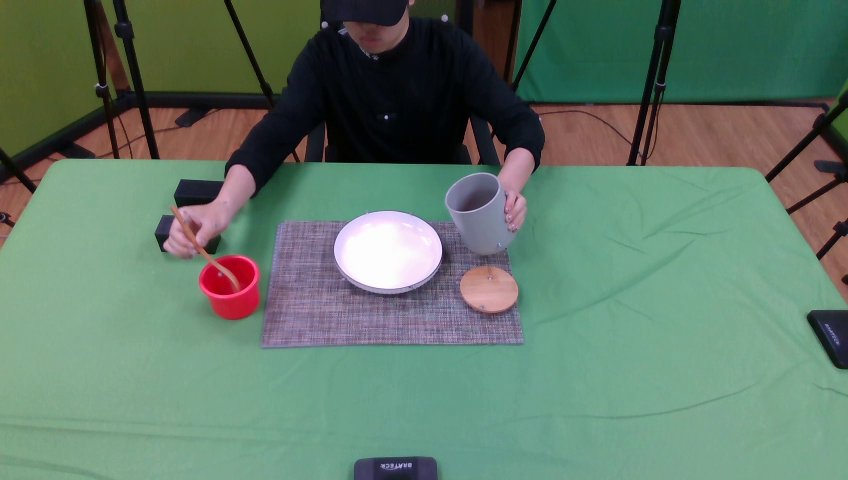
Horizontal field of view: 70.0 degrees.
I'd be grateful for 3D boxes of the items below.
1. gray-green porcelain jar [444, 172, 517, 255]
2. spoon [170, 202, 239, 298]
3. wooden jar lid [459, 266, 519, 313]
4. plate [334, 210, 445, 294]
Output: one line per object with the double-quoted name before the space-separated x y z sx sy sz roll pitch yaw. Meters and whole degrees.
"gray-green porcelain jar" 0.107 -0.044 1.106 0.106 0.127 0.105 -16 42 15
"spoon" -0.360 0.019 0.999 0.021 0.195 0.041 -39 29 -15
"wooden jar lid" 0.118 0.093 1.111 0.108 0.021 0.107 2 47 -1
"plate" -0.066 0.026 1.150 0.208 0.039 0.206 2 46 -2
